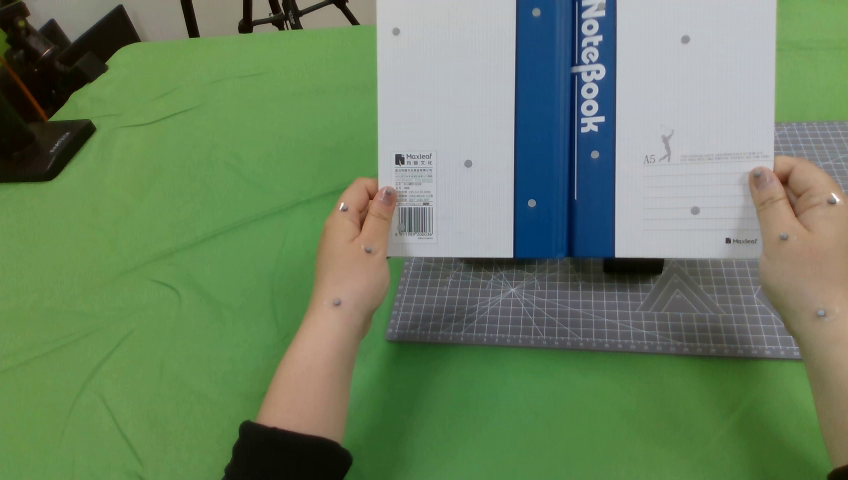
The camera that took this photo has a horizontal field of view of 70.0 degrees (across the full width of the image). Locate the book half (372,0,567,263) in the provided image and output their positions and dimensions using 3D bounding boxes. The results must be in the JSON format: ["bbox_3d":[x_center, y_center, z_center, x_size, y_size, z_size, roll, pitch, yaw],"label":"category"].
[{"bbox_3d":[0.034,-0.087,0.470,0.148,0.210,0.016,0,4,7],"label":"book half"}]

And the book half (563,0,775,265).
[{"bbox_3d":[0.172,-0.088,0.441,0.142,0.210,0.007,1,3,23],"label":"book half"}]
